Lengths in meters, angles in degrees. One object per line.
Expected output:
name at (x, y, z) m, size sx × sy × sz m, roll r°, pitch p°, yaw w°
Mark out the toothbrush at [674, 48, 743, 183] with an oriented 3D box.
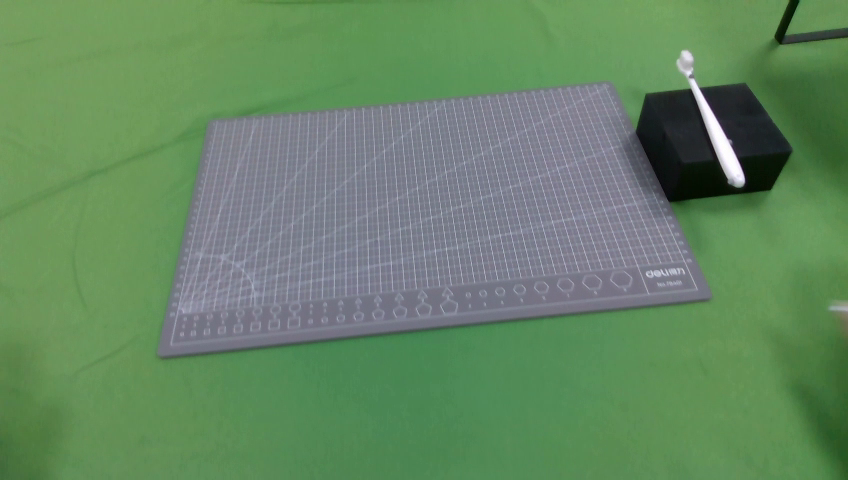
toothbrush at (0.260, -0.120, 0.556) m, size 0.014 × 0.017 × 0.180 m, roll 0°, pitch 51°, yaw 0°
